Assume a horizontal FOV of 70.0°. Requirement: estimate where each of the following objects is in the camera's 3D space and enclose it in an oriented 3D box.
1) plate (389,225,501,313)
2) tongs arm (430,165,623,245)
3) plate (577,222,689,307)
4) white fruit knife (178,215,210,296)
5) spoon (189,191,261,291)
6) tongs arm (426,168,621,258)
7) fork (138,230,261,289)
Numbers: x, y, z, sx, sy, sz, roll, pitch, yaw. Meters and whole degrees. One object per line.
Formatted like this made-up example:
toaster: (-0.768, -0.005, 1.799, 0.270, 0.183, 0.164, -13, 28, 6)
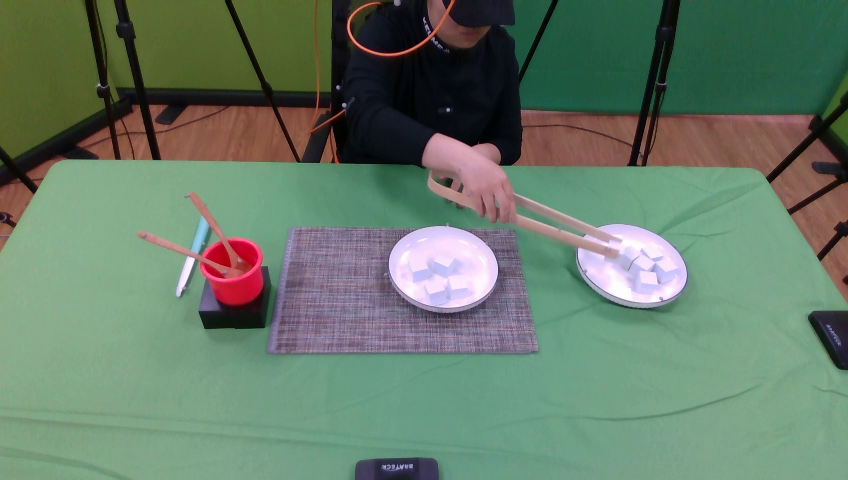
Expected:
plate: (0.038, 0.057, 1.129, 0.208, 0.039, 0.206, 2, 46, -2)
tongs arm: (0.191, -0.068, 1.157, 0.387, 0.028, 0.028, 22, 54, 7)
plate: (0.396, 0.050, 1.165, 0.209, 0.038, 0.208, 2, 47, -2)
white fruit knife: (-0.434, 0.025, 1.148, 0.027, 0.016, 0.206, -18, 45, 18)
spoon: (-0.333, 0.001, 1.012, 0.041, 0.194, 0.021, -34, 15, -25)
tongs arm: (0.183, -0.052, 1.142, 0.385, 0.026, 0.050, 19, 50, 4)
fork: (-0.359, 0.032, 0.981, 0.208, 0.018, 0.028, 31, 60, -30)
